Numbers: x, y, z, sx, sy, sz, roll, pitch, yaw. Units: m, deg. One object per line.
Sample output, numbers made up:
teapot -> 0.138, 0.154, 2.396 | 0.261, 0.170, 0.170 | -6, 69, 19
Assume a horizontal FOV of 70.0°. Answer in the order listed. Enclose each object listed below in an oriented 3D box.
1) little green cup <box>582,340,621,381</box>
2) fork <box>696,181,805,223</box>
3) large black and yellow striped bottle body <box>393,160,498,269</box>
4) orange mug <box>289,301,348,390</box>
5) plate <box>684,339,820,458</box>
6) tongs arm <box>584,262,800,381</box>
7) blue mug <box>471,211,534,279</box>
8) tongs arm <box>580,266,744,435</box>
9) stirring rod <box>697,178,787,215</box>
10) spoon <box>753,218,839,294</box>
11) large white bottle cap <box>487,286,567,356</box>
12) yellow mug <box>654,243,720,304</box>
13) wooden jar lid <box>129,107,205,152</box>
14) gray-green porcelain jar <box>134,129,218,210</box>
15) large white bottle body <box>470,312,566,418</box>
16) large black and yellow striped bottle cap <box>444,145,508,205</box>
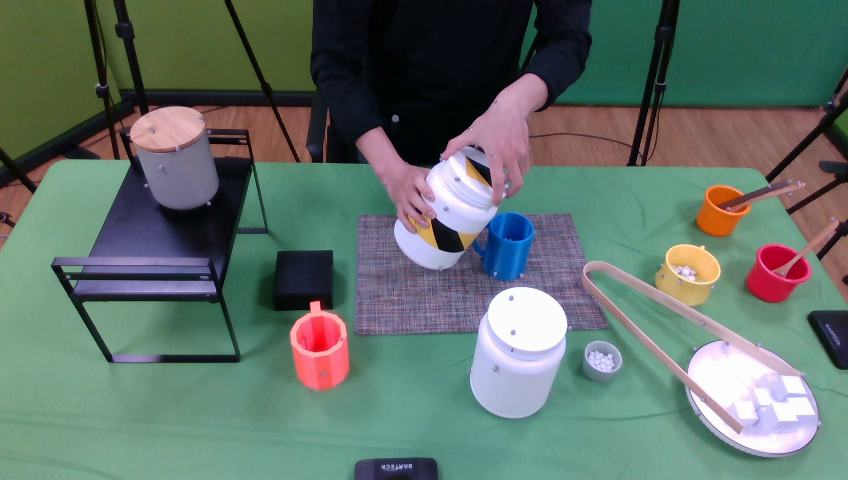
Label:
little green cup -> 0.295, 0.204, 1.015 | 0.061, 0.039, 0.061 | 2, 45, -2
fork -> 0.659, -0.077, 1.231 | 0.207, 0.019, 0.028 | -26, 35, 34
large black and yellow striped bottle body -> 0.042, -0.052, 1.029 | 0.131, 0.184, 0.130 | 21, 40, -19
orange mug -> -0.170, 0.162, 0.976 | 0.083, 0.101, 0.125 | -8, 52, -11
plate -> 0.523, 0.256, 0.982 | 0.208, 0.039, 0.206 | 2, 46, -2
tongs arm -> 0.451, 0.137, 1.064 | 0.051, 0.027, 0.382 | -34, 50, -27
blue mug -> 0.141, 0.005, 1.139 | 0.116, 0.106, 0.082 | 18, 48, 13
tongs arm -> 0.384, 0.173, 1.028 | 0.028, 0.028, 0.385 | -25, 46, -15
stirring rod -> 0.650, -0.088, 1.245 | 0.006, 0.176, 0.014 | 29, 50, -39
spoon -> 0.700, 0.031, 1.138 | 0.194, 0.022, 0.041 | -47, 55, 14
large white bottle cap -> 0.147, 0.114, 0.869 | 0.115, 0.018, 0.114 | 3, 46, -3
yellow mug -> 0.504, 0.054, 1.154 | 0.099, 0.064, 0.130 | 28, 50, 22
wooden jar lid -> -0.385, -0.163, 0.915 | 0.108, 0.021, 0.107 | 2, 47, -2
gray-green porcelain jar -> -0.388, -0.120, 0.960 | 0.106, 0.127, 0.105 | 2, 46, -2
large white bottle body -> 0.143, 0.173, 0.930 | 0.131, 0.185, 0.130 | 2, 46, -2
large black and yellow striped bottle cap -> 0.085, -0.106, 0.975 | 0.115, 0.019, 0.114 | 22, 42, -21
